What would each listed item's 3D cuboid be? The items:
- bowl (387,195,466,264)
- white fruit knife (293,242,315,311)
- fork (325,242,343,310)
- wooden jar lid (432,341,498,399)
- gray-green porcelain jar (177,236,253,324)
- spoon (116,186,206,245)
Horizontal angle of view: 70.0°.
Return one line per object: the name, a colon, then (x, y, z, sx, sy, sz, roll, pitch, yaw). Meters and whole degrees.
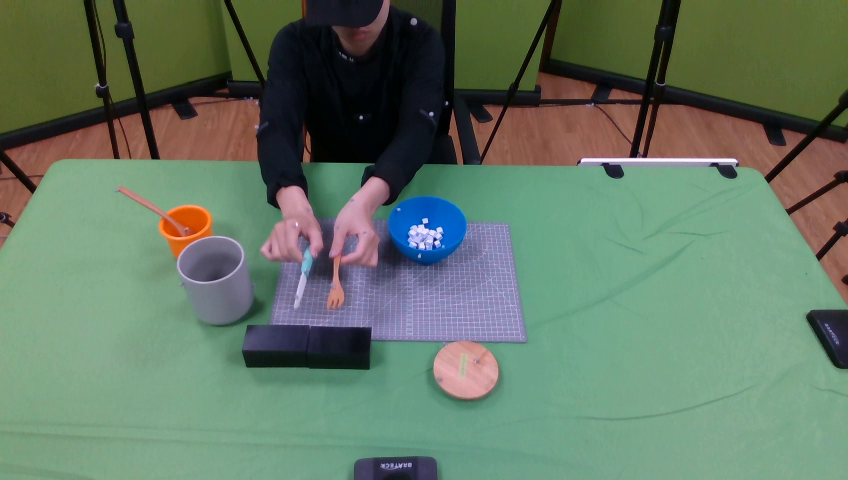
bowl: (0.003, -0.007, 1.162, 0.151, 0.077, 0.150, 2, 46, -2)
white fruit knife: (-0.197, 0.055, 0.990, 0.016, 0.027, 0.206, -8, 28, 1)
fork: (-0.146, 0.055, 1.000, 0.028, 0.019, 0.206, -8, 33, -1)
wooden jar lid: (0.067, 0.216, 0.997, 0.108, 0.021, 0.107, 1, 46, -1)
gray-green porcelain jar: (-0.350, 0.073, 1.027, 0.106, 0.127, 0.105, 2, 46, -2)
spoon: (-0.474, -0.041, 1.112, 0.021, 0.195, 0.041, -31, 31, 29)
